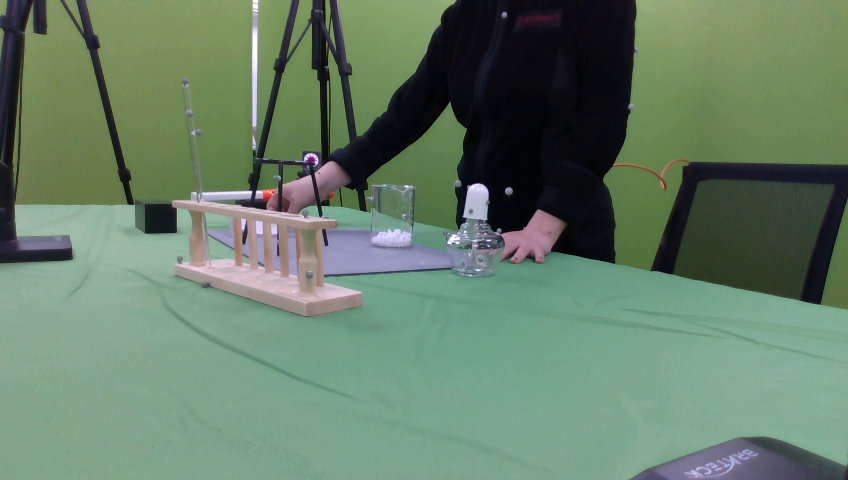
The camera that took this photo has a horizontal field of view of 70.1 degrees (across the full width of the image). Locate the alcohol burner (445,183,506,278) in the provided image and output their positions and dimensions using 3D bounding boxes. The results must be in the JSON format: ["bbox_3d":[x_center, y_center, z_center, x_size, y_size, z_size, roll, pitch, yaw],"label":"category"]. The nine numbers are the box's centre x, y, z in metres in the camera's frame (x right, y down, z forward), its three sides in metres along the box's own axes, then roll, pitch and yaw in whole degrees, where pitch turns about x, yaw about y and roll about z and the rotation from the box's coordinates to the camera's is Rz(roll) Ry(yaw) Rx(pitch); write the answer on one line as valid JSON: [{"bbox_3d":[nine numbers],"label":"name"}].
[{"bbox_3d":[0.066,-0.013,0.770,0.078,0.119,0.078,1,7,0],"label":"alcohol burner"}]

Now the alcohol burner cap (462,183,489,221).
[{"bbox_3d":[0.067,-0.048,0.765,0.034,0.048,0.034,5,4,0],"label":"alcohol burner cap"}]

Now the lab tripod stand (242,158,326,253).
[{"bbox_3d":[-0.207,-0.054,0.895,0.148,0.131,0.148,2,5,0],"label":"lab tripod stand"}]

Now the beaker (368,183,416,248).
[{"bbox_3d":[-0.050,-0.039,0.971,0.074,0.100,0.083,-1,9,-25],"label":"beaker"}]

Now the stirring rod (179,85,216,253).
[{"bbox_3d":[-0.237,-0.073,0.634,0.006,0.176,0.014,1,10,42],"label":"stirring rod"}]

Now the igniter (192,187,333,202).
[{"bbox_3d":[-0.316,-0.090,1.213,0.278,0.025,0.057,-5,12,-31],"label":"igniter"}]

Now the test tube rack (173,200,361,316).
[{"bbox_3d":[-0.169,0.009,0.622,0.241,0.085,0.067,9,10,41],"label":"test tube rack"}]

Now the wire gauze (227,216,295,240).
[{"bbox_3d":[-0.284,-0.026,1.067,0.122,0.011,0.124,7,19,-28],"label":"wire gauze"}]
